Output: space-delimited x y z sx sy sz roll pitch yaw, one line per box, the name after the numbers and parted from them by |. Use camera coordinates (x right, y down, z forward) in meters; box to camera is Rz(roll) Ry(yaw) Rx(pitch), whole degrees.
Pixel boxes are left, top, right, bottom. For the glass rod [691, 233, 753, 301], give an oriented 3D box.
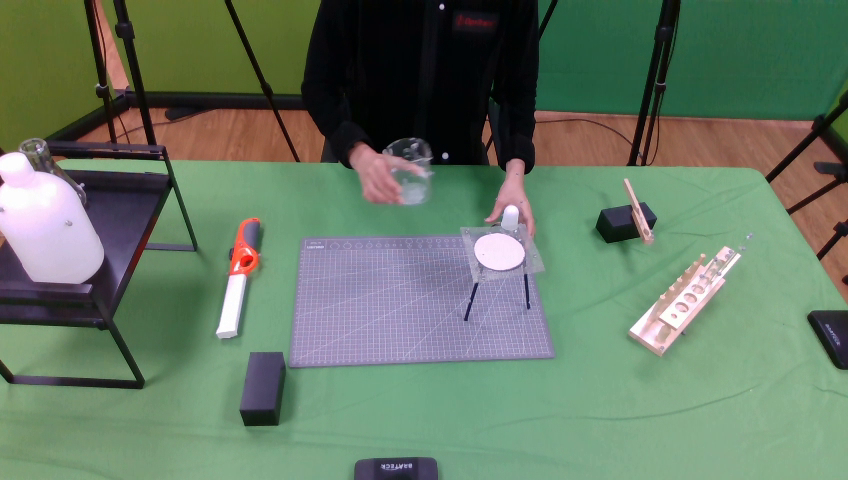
0.508 0.053 1.041 0.008 0.200 0.008 5 50 -6 | glass rod

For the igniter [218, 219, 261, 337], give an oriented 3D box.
-0.336 0.059 1.111 0.057 0.025 0.274 -8 46 3 | igniter

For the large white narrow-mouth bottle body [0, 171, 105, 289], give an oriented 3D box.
-0.513 -0.029 0.818 0.102 0.195 0.101 2 46 -2 | large white narrow-mouth bottle body

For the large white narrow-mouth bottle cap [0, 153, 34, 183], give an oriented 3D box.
-0.510 -0.090 0.754 0.038 0.024 0.037 2 46 -2 | large white narrow-mouth bottle cap

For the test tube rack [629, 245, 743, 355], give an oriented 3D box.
0.474 0.095 1.091 0.242 0.085 0.066 -34 56 -31 | test tube rack

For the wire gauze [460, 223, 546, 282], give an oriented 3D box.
0.131 0.015 1.014 0.121 0.011 0.124 -5 45 -8 | wire gauze

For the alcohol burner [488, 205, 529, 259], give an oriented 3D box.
0.163 -0.020 1.158 0.078 0.120 0.077 1 47 0 | alcohol burner

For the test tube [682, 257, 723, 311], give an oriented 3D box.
0.475 0.080 1.037 0.017 0.151 0.017 1 51 -1 | test tube

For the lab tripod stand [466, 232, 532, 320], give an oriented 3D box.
0.125 0.059 1.065 0.148 0.132 0.147 1 45 0 | lab tripod stand

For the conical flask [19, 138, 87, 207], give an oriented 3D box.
-0.576 -0.097 0.930 0.075 0.122 0.075 2 46 -2 | conical flask

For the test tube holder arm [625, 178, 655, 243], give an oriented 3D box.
0.433 -0.062 1.220 0.013 0.015 0.177 1 47 -3 | test tube holder arm

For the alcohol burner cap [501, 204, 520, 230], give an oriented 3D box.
0.164 -0.046 1.133 0.034 0.048 0.033 2 40 -1 | alcohol burner cap

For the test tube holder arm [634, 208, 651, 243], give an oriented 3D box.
0.428 -0.030 1.189 0.010 0.015 0.087 2 47 -3 | test tube holder arm

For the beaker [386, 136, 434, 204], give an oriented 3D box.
-0.019 -0.119 1.053 0.084 0.101 0.074 16 47 22 | beaker
